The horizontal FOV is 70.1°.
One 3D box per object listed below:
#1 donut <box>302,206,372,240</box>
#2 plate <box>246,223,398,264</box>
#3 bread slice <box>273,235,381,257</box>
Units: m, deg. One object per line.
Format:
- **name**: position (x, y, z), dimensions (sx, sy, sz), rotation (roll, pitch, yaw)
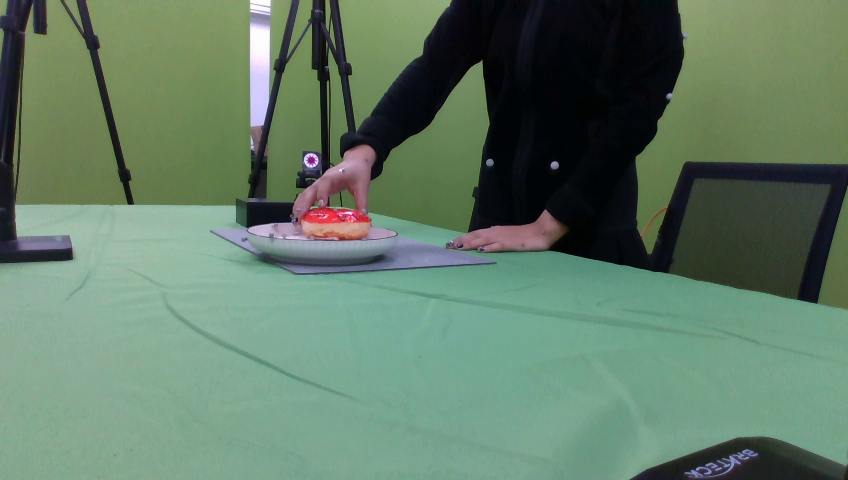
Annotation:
- **donut**: position (-0.123, -0.023, 0.852), dimensions (0.099, 0.048, 0.099), rotation (3, 7, 0)
- **plate**: position (-0.140, 0.004, 0.847), dimensions (0.209, 0.038, 0.209), rotation (2, 7, 0)
- **bread slice**: position (-0.139, 0.007, 0.839), dimensions (0.132, 0.019, 0.104), rotation (-3, 8, -35)
